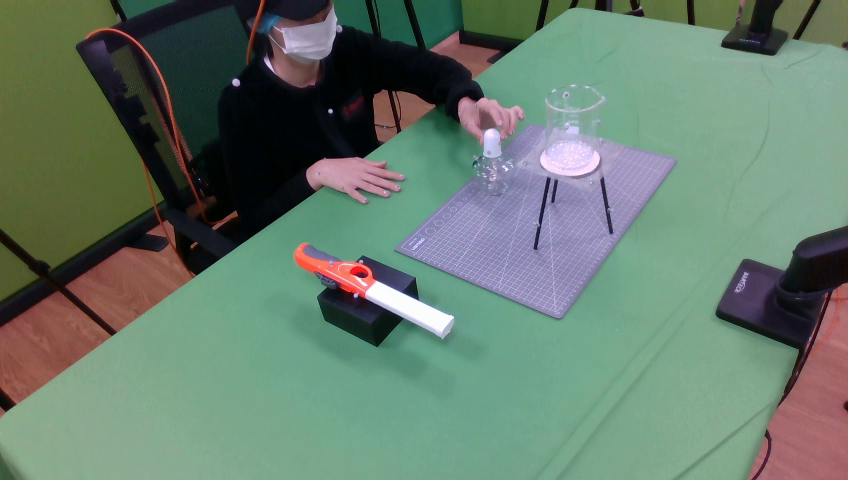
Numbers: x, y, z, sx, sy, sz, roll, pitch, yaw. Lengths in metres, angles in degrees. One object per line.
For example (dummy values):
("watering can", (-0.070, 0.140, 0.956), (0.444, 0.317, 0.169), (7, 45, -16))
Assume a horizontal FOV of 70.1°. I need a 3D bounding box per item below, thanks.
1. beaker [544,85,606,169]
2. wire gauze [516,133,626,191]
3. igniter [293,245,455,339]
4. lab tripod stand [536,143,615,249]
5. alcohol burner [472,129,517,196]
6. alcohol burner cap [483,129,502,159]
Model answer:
("beaker", (0.212, -0.158, 0.861), (0.084, 0.101, 0.073), (-3, 41, 6))
("wire gauze", (0.217, -0.122, 0.893), (0.124, 0.011, 0.122), (20, 47, 32))
("igniter", (-0.079, 0.066, 0.834), (0.274, 0.025, 0.057), (23, 48, 27))
("lab tripod stand", (0.224, -0.069, 0.931), (0.148, 0.132, 0.147), (-4, 42, 4))
("alcohol burner", (0.120, -0.136, 1.044), (0.078, 0.119, 0.077), (-6, 39, 6))
("alcohol burner cap", (0.115, -0.163, 1.021), (0.034, 0.048, 0.033), (-5, 36, 4))
